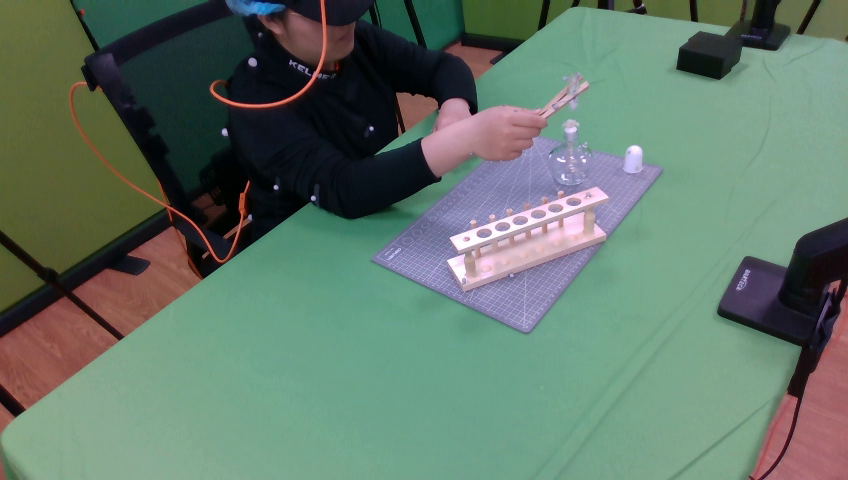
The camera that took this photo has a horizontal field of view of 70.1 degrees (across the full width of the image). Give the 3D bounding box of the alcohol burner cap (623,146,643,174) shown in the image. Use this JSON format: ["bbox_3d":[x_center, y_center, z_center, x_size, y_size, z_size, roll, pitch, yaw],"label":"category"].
[{"bbox_3d":[0.369,-0.143,1.062,0.034,0.048,0.033,-7,41,6],"label":"alcohol burner cap"}]

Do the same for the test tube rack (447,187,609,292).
[{"bbox_3d":[0.155,-0.011,0.913,0.243,0.085,0.066,-19,41,-11],"label":"test tube rack"}]

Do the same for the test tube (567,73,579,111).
[{"bbox_3d":[0.231,-0.226,0.932,0.017,0.151,0.017,-1,86,14],"label":"test tube"}]

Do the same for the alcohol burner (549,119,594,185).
[{"bbox_3d":[0.254,-0.155,1.043,0.078,0.120,0.077,-7,40,7],"label":"alcohol burner"}]

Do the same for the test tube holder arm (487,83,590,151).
[{"bbox_3d":[0.174,-0.188,0.933,0.178,0.013,0.015,-33,-4,18],"label":"test tube holder arm"}]

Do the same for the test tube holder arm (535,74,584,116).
[{"bbox_3d":[0.206,-0.218,0.919,0.010,0.087,0.015,49,17,6],"label":"test tube holder arm"}]
